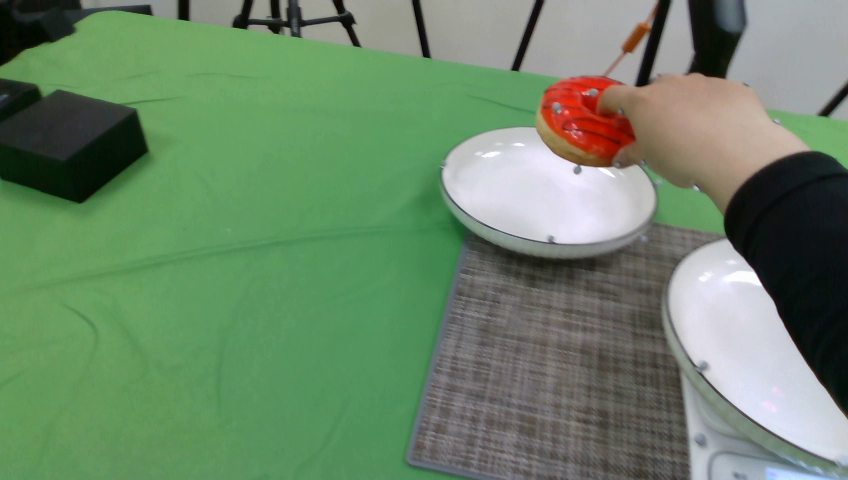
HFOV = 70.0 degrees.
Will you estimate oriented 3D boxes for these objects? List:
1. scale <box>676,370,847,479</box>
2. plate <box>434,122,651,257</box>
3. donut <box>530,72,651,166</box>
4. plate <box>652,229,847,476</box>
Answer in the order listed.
[{"bbox_3d":[0.259,0.113,0.434,0.148,0.032,0.199,10,43,7],"label":"scale"},{"bbox_3d":[0.113,-0.050,0.598,0.209,0.038,0.207,2,40,-2],"label":"plate"},{"bbox_3d":[0.135,-0.098,0.494,0.099,0.048,0.098,4,48,-4],"label":"donut"},{"bbox_3d":[0.264,0.074,0.429,0.208,0.039,0.205,3,43,-2],"label":"plate"}]
